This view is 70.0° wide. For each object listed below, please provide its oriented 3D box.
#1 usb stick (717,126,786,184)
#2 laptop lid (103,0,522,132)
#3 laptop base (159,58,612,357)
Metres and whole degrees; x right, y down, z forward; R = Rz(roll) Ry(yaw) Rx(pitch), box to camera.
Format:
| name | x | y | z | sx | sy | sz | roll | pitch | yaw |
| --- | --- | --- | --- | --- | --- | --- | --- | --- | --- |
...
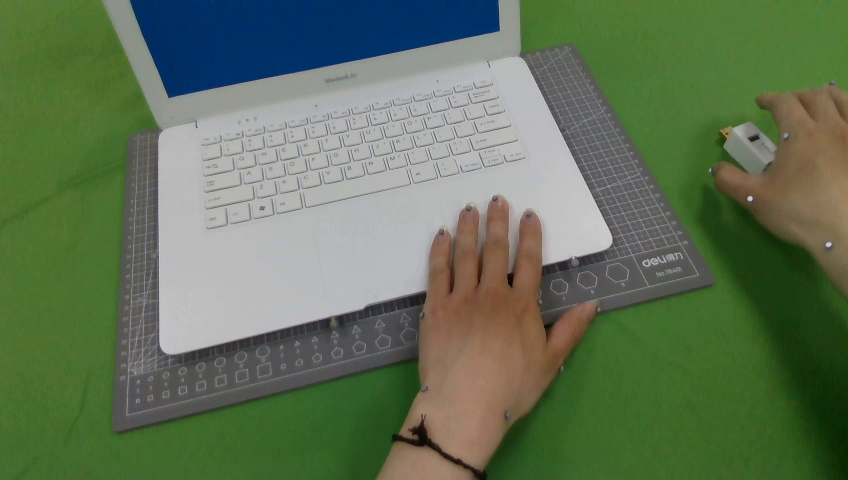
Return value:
| name | x | y | z | sx | sy | sz | roll | pitch | yaw |
| --- | --- | --- | --- | --- | --- | --- | --- | --- | --- |
| usb stick | 0.278 | -0.078 | 0.521 | 0.021 | 0.027 | 0.058 | -21 | 52 | -12 |
| laptop lid | -0.089 | -0.228 | 0.515 | 0.357 | 0.244 | 0.013 | -14 | 38 | -4 |
| laptop base | -0.047 | -0.043 | 0.523 | 0.355 | 0.023 | 0.233 | -13 | 59 | -5 |
